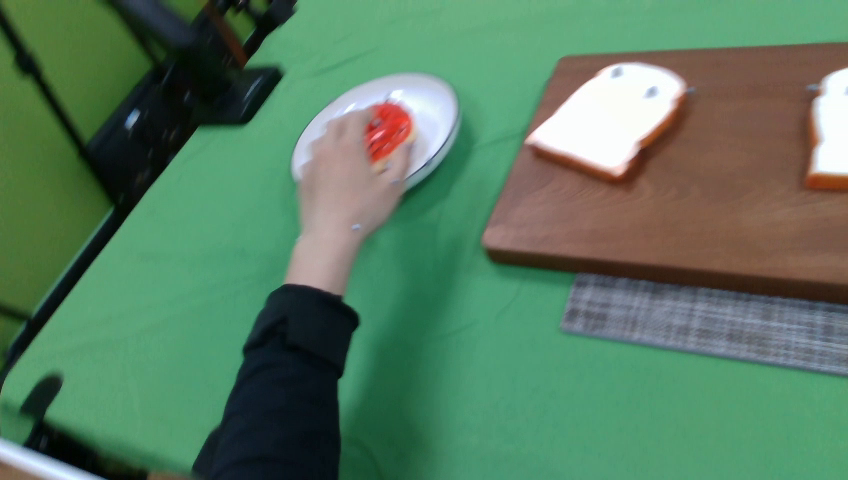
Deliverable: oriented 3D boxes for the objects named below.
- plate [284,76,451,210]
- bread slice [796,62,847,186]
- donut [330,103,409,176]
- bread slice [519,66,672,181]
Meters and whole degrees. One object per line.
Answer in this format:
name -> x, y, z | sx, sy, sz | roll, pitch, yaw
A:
plate -> -0.064, -0.112, 0.711 | 0.209, 0.038, 0.207 | -13, 48, 15
bread slice -> 0.353, -0.095, 0.478 | 0.104, 0.019, 0.130 | 2, 55, 25
donut -> -0.064, -0.117, 0.700 | 0.099, 0.049, 0.098 | -15, 48, 17
bread slice -> 0.169, -0.117, 0.582 | 0.106, 0.018, 0.134 | 26, 67, 38
